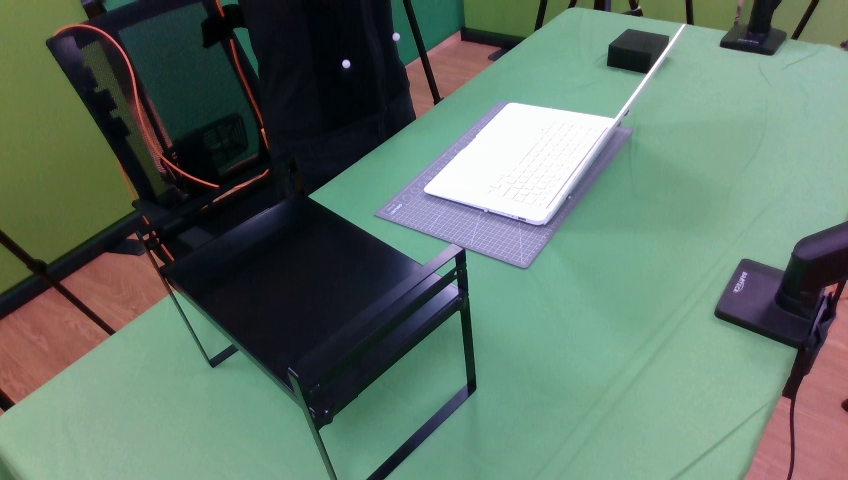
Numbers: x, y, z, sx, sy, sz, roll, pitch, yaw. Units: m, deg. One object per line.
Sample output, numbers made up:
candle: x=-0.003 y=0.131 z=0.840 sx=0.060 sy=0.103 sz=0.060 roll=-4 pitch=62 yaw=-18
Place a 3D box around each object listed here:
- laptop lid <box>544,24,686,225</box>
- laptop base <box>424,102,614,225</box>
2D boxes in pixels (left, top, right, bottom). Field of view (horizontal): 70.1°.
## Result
laptop lid: x=0.314 y=-0.191 z=0.987 sx=0.013 sy=0.241 sz=0.357 roll=35 pitch=51 yaw=9
laptop base: x=0.188 y=-0.156 z=1.131 sx=0.234 sy=0.023 sz=0.355 roll=16 pitch=46 yaw=30
